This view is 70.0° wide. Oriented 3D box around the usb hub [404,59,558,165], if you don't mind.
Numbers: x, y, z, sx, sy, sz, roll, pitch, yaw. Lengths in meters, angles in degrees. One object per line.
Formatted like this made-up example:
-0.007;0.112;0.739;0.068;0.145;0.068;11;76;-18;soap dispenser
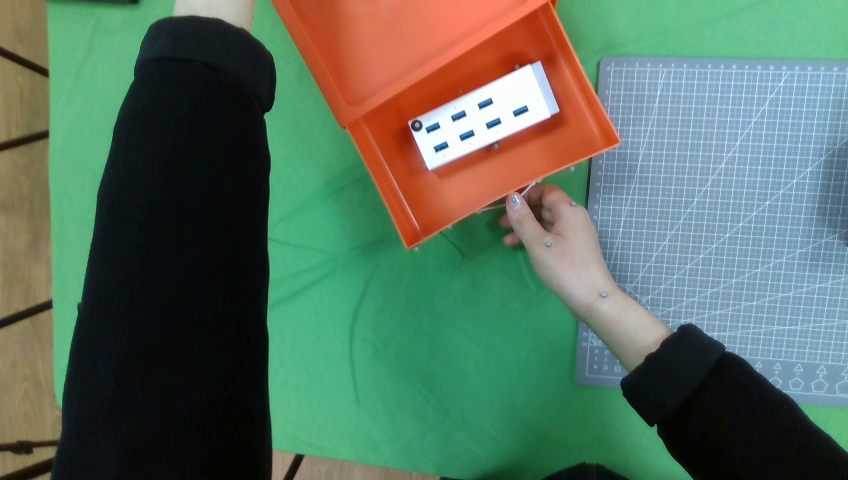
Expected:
0.049;-0.110;0.524;0.125;0.025;0.050;-19;107;18;usb hub

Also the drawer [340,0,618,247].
0.025;-0.129;0.510;0.194;0.073;0.212;-26;95;12;drawer

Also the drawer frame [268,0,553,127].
-0.032;-0.232;0.496;0.201;0.082;0.214;-29;94;12;drawer frame
